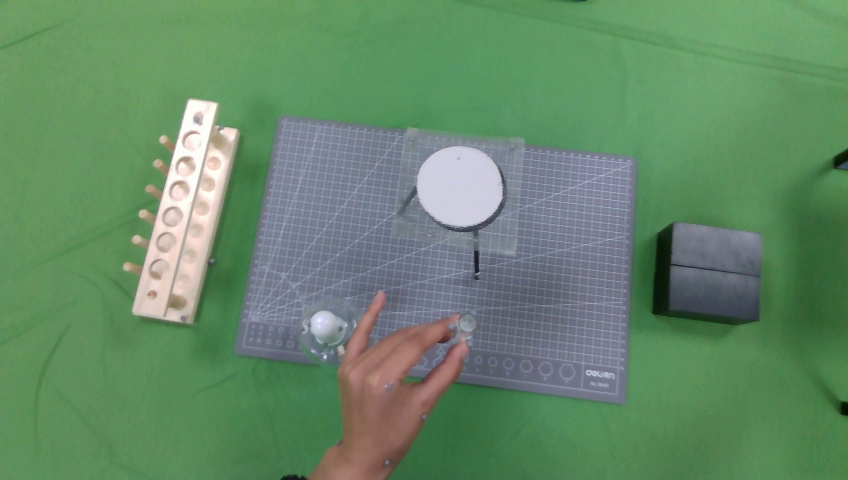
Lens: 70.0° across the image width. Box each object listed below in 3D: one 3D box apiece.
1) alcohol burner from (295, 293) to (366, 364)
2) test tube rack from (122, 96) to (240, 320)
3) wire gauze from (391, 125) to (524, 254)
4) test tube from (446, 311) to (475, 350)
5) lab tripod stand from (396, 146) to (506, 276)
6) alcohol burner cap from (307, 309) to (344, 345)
[{"bbox_3d":[-0.102,0.093,0.647,0.078,0.119,0.077,1,77,-2],"label":"alcohol burner"},{"bbox_3d":[-0.282,-0.037,0.690,0.067,0.085,0.241,10,78,2],"label":"test tube rack"},{"bbox_3d":[0.035,-0.054,0.602,0.125,0.011,0.121,8,78,1],"label":"wire gauze"},{"bbox_3d":[0.030,0.079,0.517,0.017,0.151,0.017,0,74,-1],"label":"test tube"},{"bbox_3d":[0.039,-0.042,0.668,0.148,0.132,0.147,0,75,0],"label":"lab tripod stand"},{"bbox_3d":[-0.101,0.086,0.612,0.034,0.048,0.033,-1,71,4],"label":"alcohol burner cap"}]
